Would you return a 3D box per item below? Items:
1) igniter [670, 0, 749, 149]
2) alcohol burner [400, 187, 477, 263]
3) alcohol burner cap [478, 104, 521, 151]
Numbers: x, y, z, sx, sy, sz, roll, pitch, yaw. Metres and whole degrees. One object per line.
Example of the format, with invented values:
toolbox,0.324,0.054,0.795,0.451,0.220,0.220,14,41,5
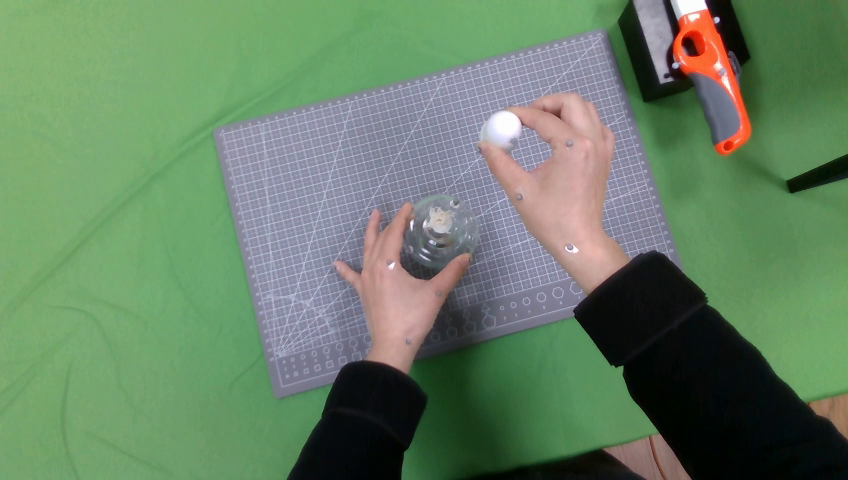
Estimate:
igniter,0.274,-0.225,0.619,0.057,0.025,0.275,-14,81,0
alcohol burner,0.015,-0.017,0.595,0.078,0.119,0.077,0,85,1
alcohol burner cap,0.062,-0.092,0.483,0.034,0.048,0.034,0,88,-3
